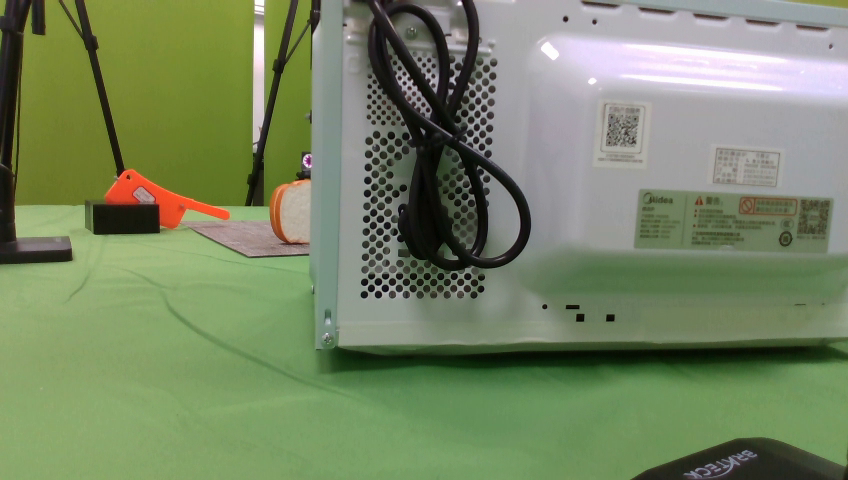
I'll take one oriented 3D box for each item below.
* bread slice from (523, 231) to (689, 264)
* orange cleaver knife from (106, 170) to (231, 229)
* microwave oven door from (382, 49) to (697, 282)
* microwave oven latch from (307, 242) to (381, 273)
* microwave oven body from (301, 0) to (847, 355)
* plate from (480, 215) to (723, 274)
[{"bbox_3d":[0.174,0.006,0.565,0.134,0.018,0.107,-5,3,29],"label":"bread slice"},{"bbox_3d":[-0.458,-0.060,1.097,0.212,0.077,0.012,23,-4,-38],"label":"orange cleaver knife"},{"bbox_3d":[0.135,-0.077,0.685,0.357,0.243,0.039,1,8,-12],"label":"microwave oven door"},{"bbox_3d":[-0.086,0.019,0.656,0.079,0.029,0.030,2,7,-10],"label":"microwave oven latch"},{"bbox_3d":[0.120,-0.053,0.535,0.443,0.260,0.325,2,7,-11],"label":"microwave oven body"},{"bbox_3d":[0.155,0.001,0.545,0.208,0.039,0.207,-1,6,0],"label":"plate"}]
